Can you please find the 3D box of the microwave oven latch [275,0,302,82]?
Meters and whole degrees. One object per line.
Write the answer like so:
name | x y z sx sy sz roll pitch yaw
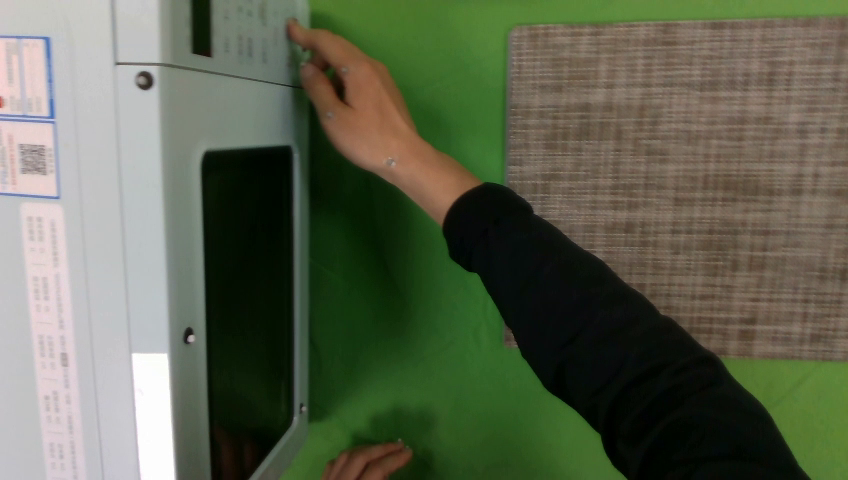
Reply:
microwave oven latch | -0.125 -0.182 0.537 0.030 0.029 0.079 8 103 7

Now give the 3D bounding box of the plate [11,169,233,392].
plate | -0.273 0.037 0.560 0.209 0.038 0.210 1 102 7

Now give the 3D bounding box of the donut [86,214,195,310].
donut | -0.256 0.021 0.548 0.099 0.048 0.100 6 124 10

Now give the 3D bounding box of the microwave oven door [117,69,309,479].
microwave oven door | -0.149 0.053 0.486 0.039 0.243 0.357 4 102 8

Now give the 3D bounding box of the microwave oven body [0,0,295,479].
microwave oven body | -0.291 0.001 0.502 0.325 0.259 0.443 4 103 8
